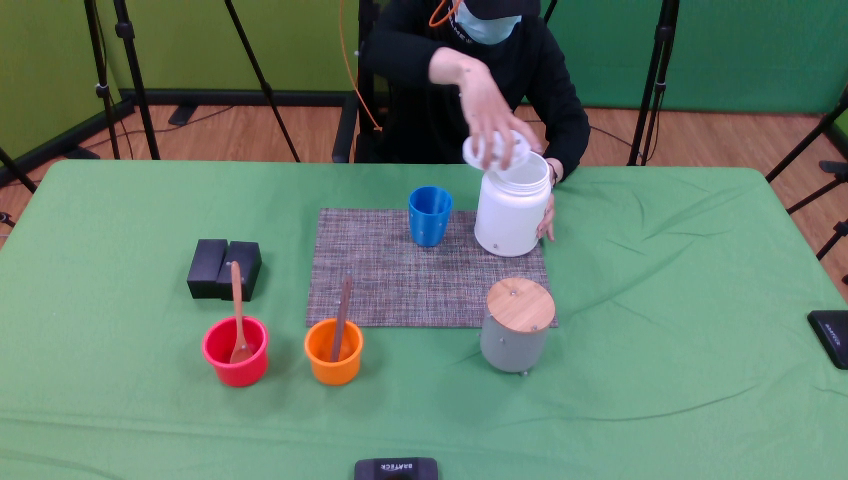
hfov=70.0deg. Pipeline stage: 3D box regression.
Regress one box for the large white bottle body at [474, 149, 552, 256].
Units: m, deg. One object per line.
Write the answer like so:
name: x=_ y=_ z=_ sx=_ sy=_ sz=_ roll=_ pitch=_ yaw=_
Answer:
large white bottle body: x=0.170 y=-0.073 z=1.159 sx=0.131 sy=0.185 sz=0.130 roll=2 pitch=47 yaw=-2

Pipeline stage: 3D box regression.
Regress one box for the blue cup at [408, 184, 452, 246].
blue cup: x=0.008 y=-0.043 z=1.177 sx=0.093 sy=0.101 sz=0.092 roll=3 pitch=48 yaw=-3

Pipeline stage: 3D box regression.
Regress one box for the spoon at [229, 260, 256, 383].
spoon: x=-0.295 y=0.129 z=0.966 sx=0.042 sy=0.021 sz=0.193 roll=-4 pitch=90 yaw=-9

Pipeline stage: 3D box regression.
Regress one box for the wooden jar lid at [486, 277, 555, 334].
wooden jar lid: x=0.150 y=0.105 z=0.948 sx=0.108 sy=0.021 sz=0.107 roll=3 pitch=47 yaw=-3

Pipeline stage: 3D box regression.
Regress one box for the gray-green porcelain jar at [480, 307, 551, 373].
gray-green porcelain jar: x=0.148 y=0.148 z=0.992 sx=0.106 sy=0.127 sz=0.105 roll=2 pitch=46 yaw=-2

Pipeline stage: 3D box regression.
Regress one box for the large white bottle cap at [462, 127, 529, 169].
large white bottle cap: x=0.123 y=-0.159 z=1.045 sx=0.115 sy=0.018 sz=0.114 roll=-3 pitch=40 yaw=3

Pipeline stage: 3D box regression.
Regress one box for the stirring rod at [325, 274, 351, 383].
stirring rod: x=-0.137 y=0.142 z=0.971 sx=0.014 sy=0.006 sz=0.176 roll=9 pitch=89 yaw=0
